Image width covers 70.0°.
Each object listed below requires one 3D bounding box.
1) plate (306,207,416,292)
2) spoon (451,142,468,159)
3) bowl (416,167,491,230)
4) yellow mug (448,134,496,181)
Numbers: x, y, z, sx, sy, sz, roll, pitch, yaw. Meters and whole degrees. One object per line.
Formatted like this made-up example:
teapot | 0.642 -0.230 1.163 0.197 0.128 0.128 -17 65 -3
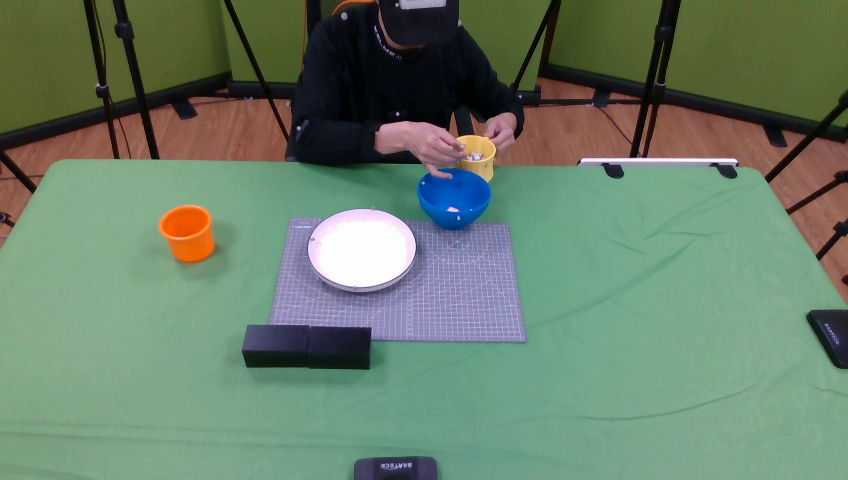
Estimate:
plate | -0.119 0.021 1.153 0.209 0.038 0.208 2 46 -2
spoon | 0.077 -0.175 1.242 0.041 0.194 0.021 13 84 15
bowl | 0.057 -0.074 1.231 0.151 0.077 0.150 2 42 -2
yellow mug | 0.110 -0.184 1.320 0.099 0.064 0.130 24 47 21
